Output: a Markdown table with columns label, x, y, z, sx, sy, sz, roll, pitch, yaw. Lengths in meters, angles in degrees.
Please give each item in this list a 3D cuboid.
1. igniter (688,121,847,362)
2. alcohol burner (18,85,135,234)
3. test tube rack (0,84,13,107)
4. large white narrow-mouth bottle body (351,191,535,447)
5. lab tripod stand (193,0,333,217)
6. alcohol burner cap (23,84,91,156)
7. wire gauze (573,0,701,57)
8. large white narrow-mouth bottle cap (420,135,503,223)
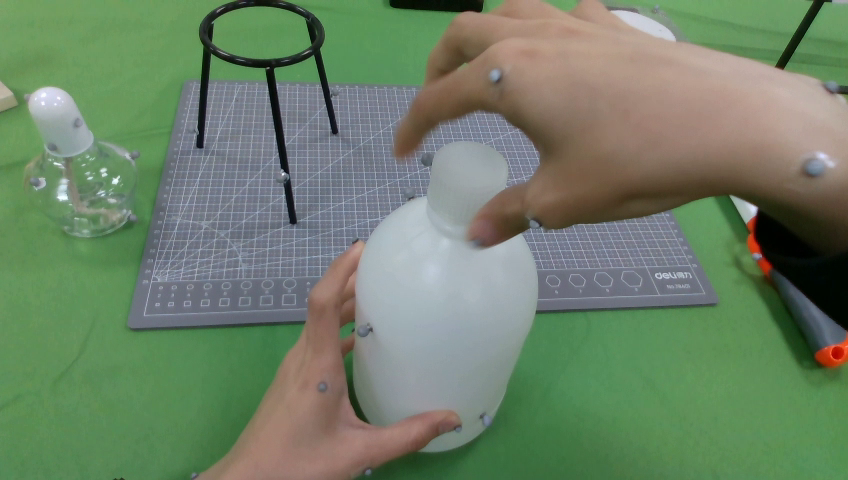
| label | x | y | z | sx | sy | sz | roll | pitch | yaw |
| --- | --- | --- | --- | --- | --- | --- | --- | --- | --- |
| igniter | 0.301 | -0.013 | 0.542 | 0.057 | 0.025 | 0.273 | 8 | 48 | -16 |
| alcohol burner | -0.257 | -0.061 | 0.442 | 0.078 | 0.120 | 0.077 | 5 | 46 | -5 |
| test tube rack | -0.477 | -0.112 | 0.471 | 0.066 | 0.086 | 0.242 | 37 | 53 | 22 |
| large white narrow-mouth bottle body | 0.009 | 0.034 | 0.344 | 0.102 | 0.196 | 0.101 | 4 | 48 | -4 |
| lab tripod stand | -0.126 | -0.113 | 0.490 | 0.149 | 0.132 | 0.147 | 6 | 49 | -6 |
| alcohol burner cap | -0.253 | -0.084 | 0.414 | 0.034 | 0.048 | 0.033 | 3 | 55 | -4 |
| wire gauze | 0.233 | -0.240 | 0.681 | 0.122 | 0.011 | 0.123 | 0 | 49 | -10 |
| large white narrow-mouth bottle cap | 0.017 | -0.028 | 0.276 | 0.038 | 0.024 | 0.037 | 4 | 48 | -4 |
